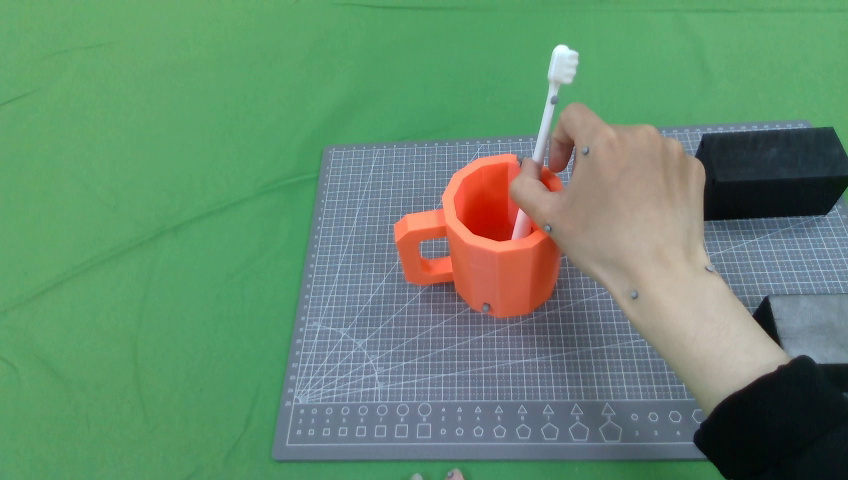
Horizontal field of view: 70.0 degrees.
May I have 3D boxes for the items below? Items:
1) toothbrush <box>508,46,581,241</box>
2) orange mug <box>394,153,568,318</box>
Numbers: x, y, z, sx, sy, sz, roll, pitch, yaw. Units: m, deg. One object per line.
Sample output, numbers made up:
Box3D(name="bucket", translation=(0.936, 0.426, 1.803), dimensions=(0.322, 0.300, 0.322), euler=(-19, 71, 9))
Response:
Box3D(name="toothbrush", translation=(0.076, -0.039, 0.419), dimensions=(0.016, 0.183, 0.014), euler=(27, 27, 34))
Box3D(name="orange mug", translation=(0.043, 0.001, 0.453), dimensions=(0.126, 0.102, 0.082), euler=(-7, 56, -2))
